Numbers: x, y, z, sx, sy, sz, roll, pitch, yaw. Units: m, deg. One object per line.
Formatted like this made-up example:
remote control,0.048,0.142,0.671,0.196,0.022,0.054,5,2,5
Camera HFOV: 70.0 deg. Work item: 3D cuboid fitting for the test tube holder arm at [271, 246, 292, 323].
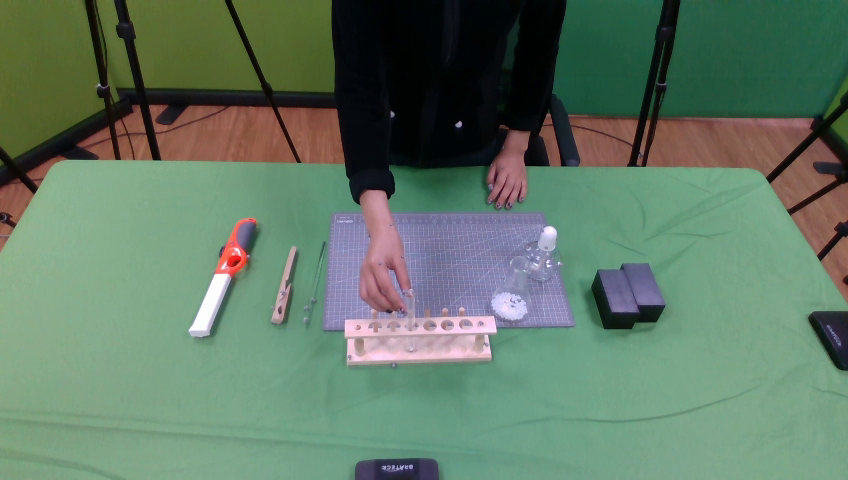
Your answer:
test tube holder arm,-0.259,0.076,1.106,0.013,0.015,0.177,28,38,-28

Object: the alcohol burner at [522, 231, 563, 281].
alcohol burner,0.224,0.020,1.131,0.078,0.119,0.077,4,46,-4

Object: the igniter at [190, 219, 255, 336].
igniter,-0.365,0.058,1.110,0.057,0.025,0.275,-1,45,8

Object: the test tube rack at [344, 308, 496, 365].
test tube rack,-0.009,0.154,1.006,0.242,0.085,0.066,-1,46,-5

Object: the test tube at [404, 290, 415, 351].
test tube,-0.023,0.131,0.958,0.017,0.151,0.017,1,47,0

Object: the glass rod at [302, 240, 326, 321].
glass rod,-0.203,0.071,1.123,0.008,0.008,0.198,5,44,1

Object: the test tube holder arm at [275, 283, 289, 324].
test tube holder arm,-0.253,0.111,1.077,0.010,0.015,0.087,29,38,-27

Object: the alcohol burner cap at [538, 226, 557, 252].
alcohol burner cap,0.226,-0.004,1.104,0.034,0.048,0.033,-1,50,1

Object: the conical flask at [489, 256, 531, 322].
conical flask,0.158,0.081,1.060,0.075,0.122,0.075,2,46,-2
